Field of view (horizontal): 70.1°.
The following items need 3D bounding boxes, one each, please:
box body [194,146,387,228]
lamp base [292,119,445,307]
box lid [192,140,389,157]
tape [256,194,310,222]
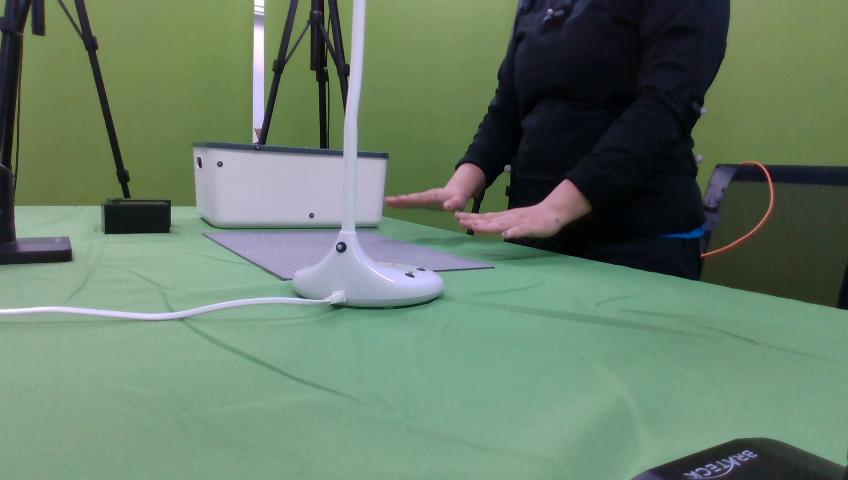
[{"bbox_3d":[-0.288,-0.118,1.291,0.366,0.160,0.253,-1,8,-28],"label":"box body"},{"bbox_3d":[-0.056,-0.030,0.616,0.160,0.180,0.179,3,10,8],"label":"lamp base"},{"bbox_3d":[-0.287,-0.191,1.281,0.373,0.015,0.262,0,8,-28],"label":"box lid"},{"bbox_3d":[-0.301,-0.069,1.294,0.117,0.052,0.117,2,7,0],"label":"tape"}]
